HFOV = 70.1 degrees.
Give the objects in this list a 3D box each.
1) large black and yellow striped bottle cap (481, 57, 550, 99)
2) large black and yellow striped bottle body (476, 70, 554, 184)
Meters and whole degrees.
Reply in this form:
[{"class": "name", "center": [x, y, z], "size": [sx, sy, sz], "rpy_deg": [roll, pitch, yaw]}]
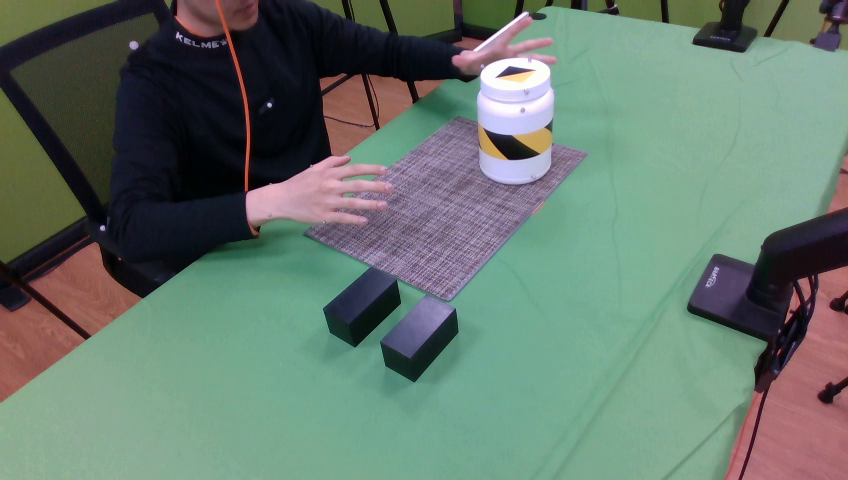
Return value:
[{"class": "large black and yellow striped bottle cap", "center": [0.151, -0.270, 1.001], "size": [0.115, 0.019, 0.114], "rpy_deg": [-4, 42, 4]}, {"class": "large black and yellow striped bottle body", "center": [0.159, -0.206, 1.054], "size": [0.131, 0.185, 0.130], "rpy_deg": [-4, 41, 4]}]
